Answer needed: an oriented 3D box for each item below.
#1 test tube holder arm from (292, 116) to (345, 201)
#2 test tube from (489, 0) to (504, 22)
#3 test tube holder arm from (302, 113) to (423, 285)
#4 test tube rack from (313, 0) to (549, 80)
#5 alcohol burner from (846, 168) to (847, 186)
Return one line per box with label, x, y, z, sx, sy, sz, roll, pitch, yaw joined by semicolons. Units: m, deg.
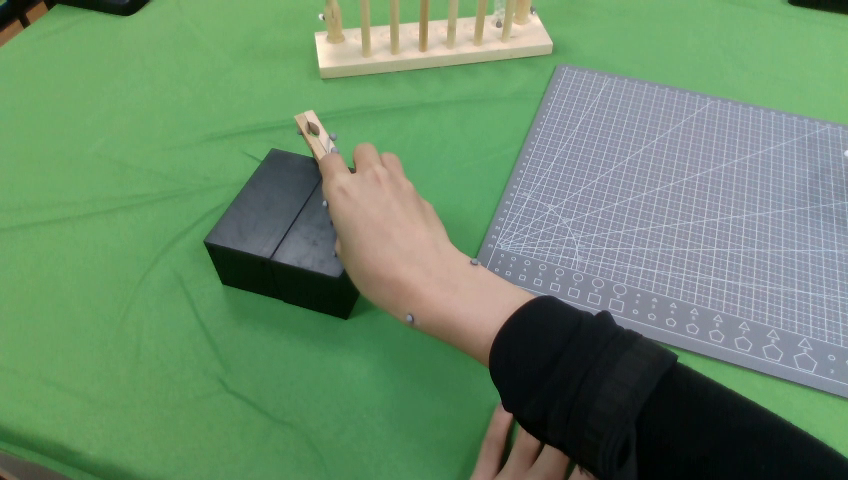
test tube holder arm;-0.077;-0.063;0.457;0.010;0.015;0.087;-33;59;-6
test tube;0.072;-0.287;0.597;0.017;0.152;0.017;-3;48;3
test tube holder arm;-0.049;-0.035;0.434;0.013;0.015;0.176;-34;59;-6
test tube rack;0.007;-0.230;0.614;0.243;0.086;0.066;-8;51;-7
alcohol burner;0.388;-0.080;0.472;0.078;0.120;0.077;1;49;-1
